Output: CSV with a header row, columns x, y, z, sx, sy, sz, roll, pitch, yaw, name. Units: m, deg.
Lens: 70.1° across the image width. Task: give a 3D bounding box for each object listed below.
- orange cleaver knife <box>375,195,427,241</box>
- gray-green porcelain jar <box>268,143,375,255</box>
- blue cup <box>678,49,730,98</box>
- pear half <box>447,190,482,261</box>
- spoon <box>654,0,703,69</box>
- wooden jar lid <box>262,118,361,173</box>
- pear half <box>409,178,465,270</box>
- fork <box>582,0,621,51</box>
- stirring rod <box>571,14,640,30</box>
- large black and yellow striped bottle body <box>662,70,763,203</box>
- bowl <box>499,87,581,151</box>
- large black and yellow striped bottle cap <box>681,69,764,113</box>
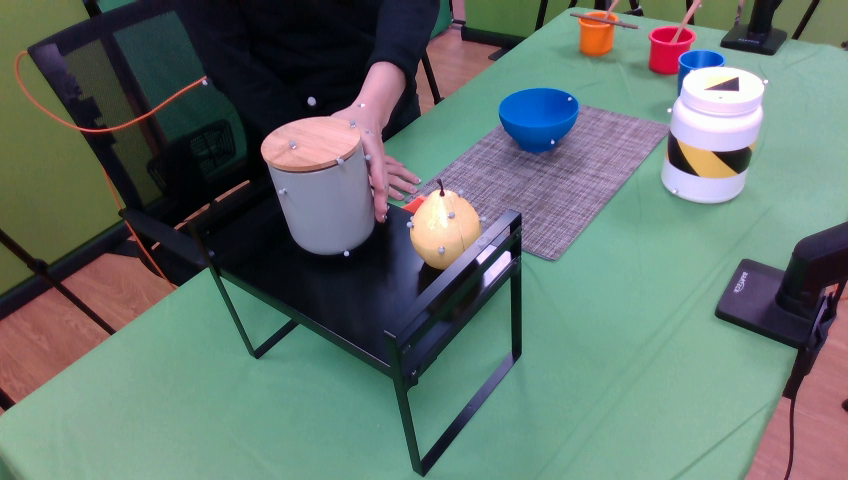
x,y,z,sx,sy,sz,roll,pitch,yaw,name
-0.037,-0.029,0.973,0.210,0.077,0.012,-8,33,50,orange cleaver knife
-0.114,-0.055,0.704,0.106,0.127,0.105,-4,40,4,gray-green porcelain jar
0.542,-0.310,1.194,0.092,0.101,0.092,-6,41,6,blue cup
0.046,-0.020,0.665,0.031,0.088,0.070,-17,38,-8,pear half
0.569,-0.462,1.335,0.041,0.022,0.193,34,99,37,spoon
-0.122,-0.101,0.663,0.108,0.021,0.108,-3,39,3,wooden jar lid
0.011,-0.019,0.655,0.056,0.110,0.076,-16,37,-9,pear half
0.446,-0.538,1.438,0.207,0.019,0.028,-57,36,12,fork
0.419,-0.508,1.404,0.174,0.006,0.014,28,55,35,stirring rod
0.464,-0.166,0.976,0.131,0.185,0.130,-5,41,4,large black and yellow striped bottle body
0.221,-0.223,1.156,0.151,0.077,0.150,-4,40,4,bowl
0.453,-0.229,0.921,0.115,0.019,0.114,-4,39,4,large black and yellow striped bottle cap
